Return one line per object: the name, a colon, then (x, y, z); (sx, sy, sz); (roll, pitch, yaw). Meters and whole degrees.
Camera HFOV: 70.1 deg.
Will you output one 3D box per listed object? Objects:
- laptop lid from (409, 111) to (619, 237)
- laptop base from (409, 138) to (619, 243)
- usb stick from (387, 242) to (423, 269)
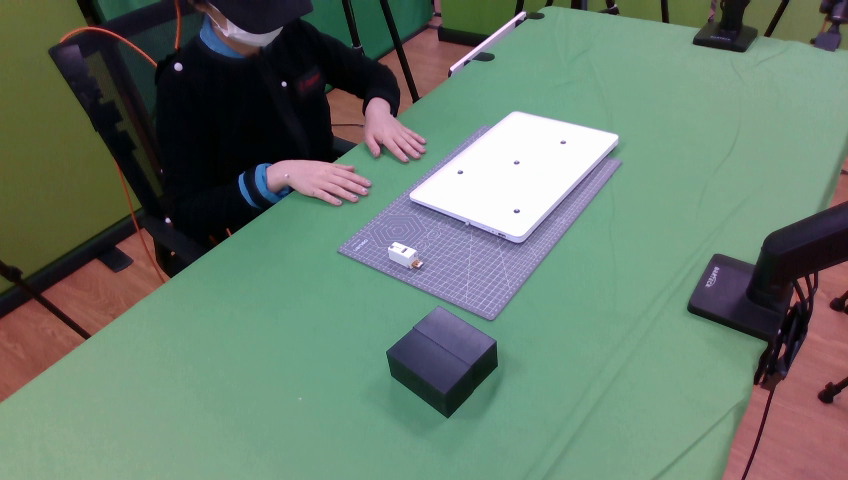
laptop lid: (0.167, -0.136, 1.089); (0.239, 0.013, 0.358); (24, 49, 34)
laptop base: (0.170, -0.126, 1.095); (0.233, 0.023, 0.355); (21, 47, 34)
usb stick: (-0.028, 0.026, 0.934); (0.059, 0.027, 0.021); (25, 49, 29)
